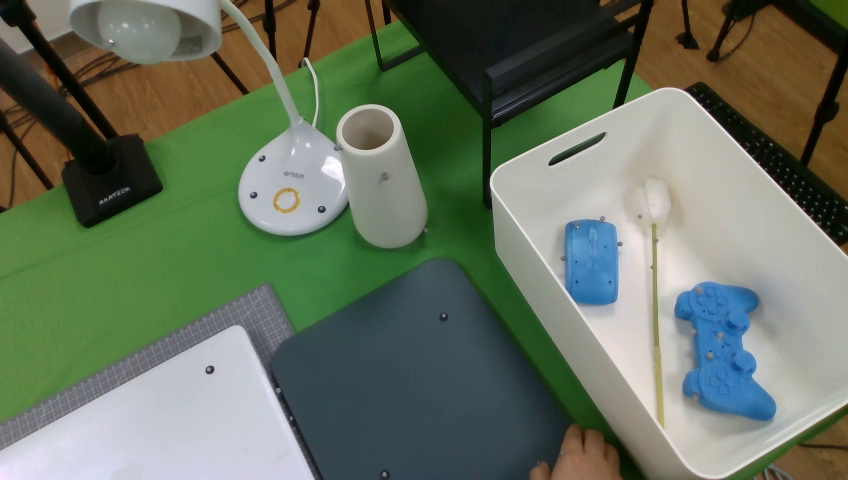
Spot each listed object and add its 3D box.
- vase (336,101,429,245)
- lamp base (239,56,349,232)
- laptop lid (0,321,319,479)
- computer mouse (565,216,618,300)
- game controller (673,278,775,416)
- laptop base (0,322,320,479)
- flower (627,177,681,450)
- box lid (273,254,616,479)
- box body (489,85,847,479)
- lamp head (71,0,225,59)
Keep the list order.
[{"bbox_3d":[-0.050,-0.075,0.725,0.098,0.202,0.097,-3,61,6],"label":"vase"},{"bbox_3d":[-0.182,-0.129,0.776,0.160,0.182,0.177,1,59,6],"label":"lamp base"},{"bbox_3d":[-0.313,0.265,0.655,0.357,0.013,0.239,-28,66,-10],"label":"laptop lid"},{"bbox_3d":[0.204,0.018,0.739,0.062,0.041,0.116,4,58,10],"label":"computer mouse"},{"bbox_3d":[0.334,0.112,0.674,0.097,0.052,0.154,2,61,8],"label":"game controller"},{"bbox_3d":[-0.313,0.268,0.667,0.354,0.023,0.233,-29,67,-11],"label":"laptop base"},{"bbox_3d":[0.276,0.084,0.707,0.044,0.038,0.358,-13,58,29],"label":"flower"},{"bbox_3d":[0.012,0.203,0.679,0.263,0.015,0.368,-29,64,-12],"label":"box lid"},{"bbox_3d":[0.262,0.044,0.657,0.254,0.162,0.360,-27,63,-9],"label":"box body"},{"bbox_3d":[-0.216,-0.220,0.487,0.112,0.113,0.122,-2,79,4],"label":"lamp head"}]
